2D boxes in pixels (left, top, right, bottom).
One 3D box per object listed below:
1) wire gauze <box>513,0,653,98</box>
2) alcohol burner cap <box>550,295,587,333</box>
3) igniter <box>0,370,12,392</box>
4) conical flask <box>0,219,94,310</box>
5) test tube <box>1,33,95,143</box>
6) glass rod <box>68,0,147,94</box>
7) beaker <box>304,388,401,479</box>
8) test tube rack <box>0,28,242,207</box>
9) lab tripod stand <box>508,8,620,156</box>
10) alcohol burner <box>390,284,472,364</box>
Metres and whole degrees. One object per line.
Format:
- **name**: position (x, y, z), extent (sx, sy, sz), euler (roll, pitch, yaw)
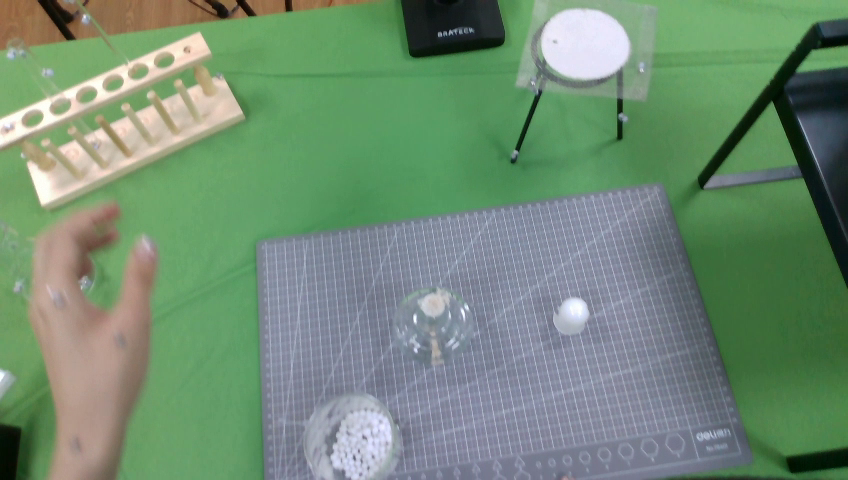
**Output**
- **wire gauze**: position (0.156, -0.194, 0.584), extent (0.121, 0.011, 0.124), euler (12, 69, 5)
- **alcohol burner cap**: position (0.144, 0.070, 0.596), extent (0.034, 0.048, 0.033), euler (0, 67, 1)
- **igniter**: position (-0.447, 0.233, 0.505), extent (0.057, 0.025, 0.275), euler (19, 68, 19)
- **conical flask**: position (-0.388, 0.018, 0.590), extent (0.075, 0.123, 0.075), euler (-1, 67, 2)
- **test tube**: position (-0.382, -0.151, 0.625), extent (0.017, 0.151, 0.017), euler (-1, 61, 1)
- **glass rod**: position (-0.321, -0.196, 0.623), extent (0.008, 0.201, 0.008), euler (-4, 62, 8)
- **beaker**: position (-0.059, 0.178, 0.527), extent (0.074, 0.101, 0.083), euler (20, 70, 10)
- **test tube rack**: position (-0.337, -0.134, 0.671), extent (0.242, 0.086, 0.066), euler (-28, 69, -10)
- **lab tripod stand**: position (0.151, -0.166, 0.645), extent (0.148, 0.132, 0.147), euler (0, 66, 0)
- **alcohol burner**: position (0.006, 0.072, 0.560), extent (0.078, 0.120, 0.077), euler (0, 66, 0)
